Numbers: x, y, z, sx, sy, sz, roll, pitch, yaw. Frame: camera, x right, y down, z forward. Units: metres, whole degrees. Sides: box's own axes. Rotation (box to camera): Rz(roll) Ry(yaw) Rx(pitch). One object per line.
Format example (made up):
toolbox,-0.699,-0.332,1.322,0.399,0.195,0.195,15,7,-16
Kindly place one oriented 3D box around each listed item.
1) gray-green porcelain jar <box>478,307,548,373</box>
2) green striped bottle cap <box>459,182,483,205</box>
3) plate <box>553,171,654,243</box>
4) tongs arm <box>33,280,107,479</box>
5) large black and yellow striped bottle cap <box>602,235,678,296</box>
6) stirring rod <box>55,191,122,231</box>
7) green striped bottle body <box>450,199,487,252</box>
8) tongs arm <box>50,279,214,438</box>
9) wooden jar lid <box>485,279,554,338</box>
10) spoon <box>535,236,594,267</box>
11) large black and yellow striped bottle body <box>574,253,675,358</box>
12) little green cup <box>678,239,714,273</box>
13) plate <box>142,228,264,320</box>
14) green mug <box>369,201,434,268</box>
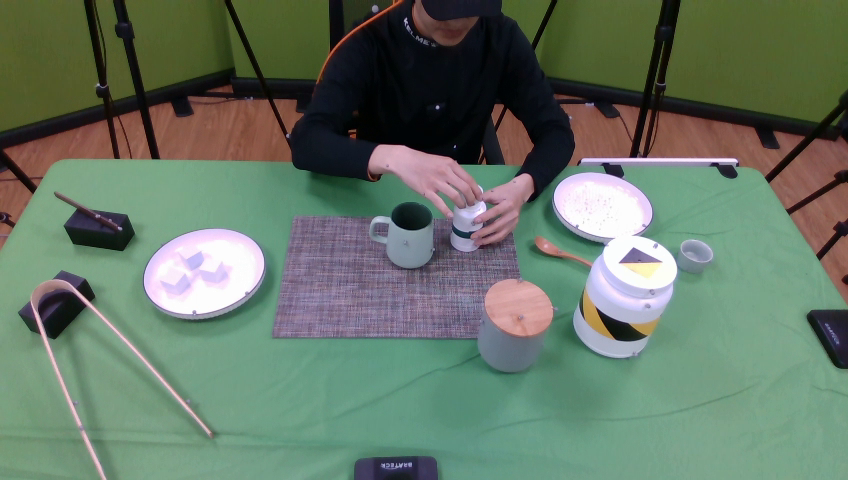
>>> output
gray-green porcelain jar,0.144,0.148,0.989,0.106,0.127,0.105,2,50,-2
green striped bottle cap,0.087,-0.085,1.117,0.044,0.020,0.044,2,48,-2
plate,0.374,-0.066,1.275,0.209,0.038,0.208,2,46,-2
tongs arm,-0.517,0.214,0.910,0.051,0.026,0.383,-28,63,-27
large black and yellow striped bottle cap,0.340,0.037,0.955,0.115,0.019,0.114,2,47,-2
stirring rod,-0.632,-0.055,1.138,0.175,0.014,0.006,24,50,19
green striped bottle body,0.087,-0.039,1.166,0.063,0.120,0.063,2,46,-2
tongs arm,-0.459,0.178,0.949,0.386,0.028,0.028,37,60,17
wooden jar lid,0.147,0.108,0.940,0.108,0.021,0.107,4,47,-4
spoon,0.303,0.040,1.178,0.193,0.022,0.041,25,30,19
large black and yellow striped bottle body,0.335,0.096,1.014,0.131,0.185,0.130,2,46,-2
little green cup,0.531,0.033,1.190,0.061,0.039,0.061,2,47,-2
plate,-0.394,0.064,1.095,0.208,0.039,0.206,2,46,-2
green mug,-0.042,-0.011,1.141,0.125,0.105,0.092,7,47,4
